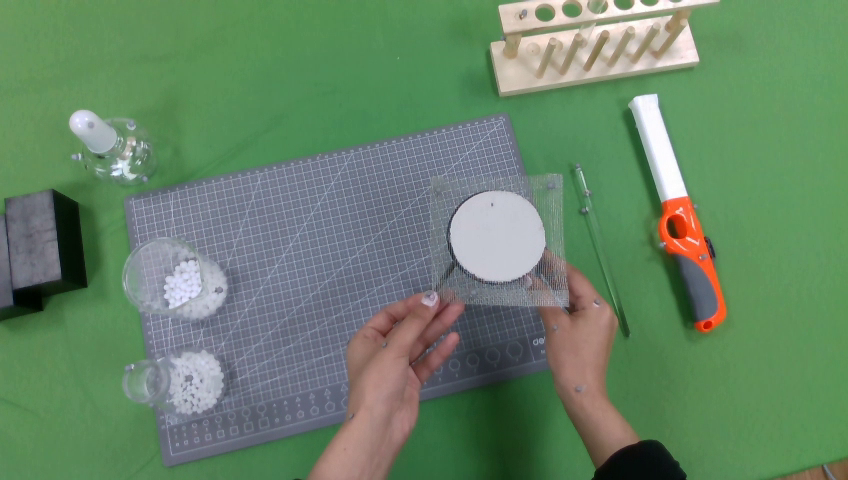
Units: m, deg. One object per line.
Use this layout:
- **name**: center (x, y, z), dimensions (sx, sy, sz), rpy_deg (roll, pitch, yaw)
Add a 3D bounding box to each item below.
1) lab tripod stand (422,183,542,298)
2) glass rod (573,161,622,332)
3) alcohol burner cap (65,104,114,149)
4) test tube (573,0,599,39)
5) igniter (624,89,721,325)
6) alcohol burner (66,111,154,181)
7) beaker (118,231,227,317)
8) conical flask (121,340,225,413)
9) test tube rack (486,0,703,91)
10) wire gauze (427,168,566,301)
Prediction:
- **lab tripod stand**: center (0.059, 0.008, 0.612), dimensions (0.148, 0.132, 0.148), rpy_deg (0, 79, -1)
- **glass rod**: center (0.195, 0.005, 0.682), dimensions (0.008, 0.008, 0.199), rpy_deg (-12, 81, -4)
- **alcohol burner cap**: center (-0.337, -0.117, 0.606), dimensions (0.034, 0.048, 0.033), rpy_deg (0, 71, 0)
- **test tube**: center (0.181, -0.260, 0.649), dimensions (0.017, 0.151, 0.017), rpy_deg (0, 78, 2)
- **igniter**: center (0.280, -0.041, 0.685), dimensions (0.057, 0.025, 0.275), rpy_deg (-10, 78, -13)
- **alcohol burner**: center (-0.337, -0.106, 0.640), dimensions (0.078, 0.119, 0.077), rpy_deg (0, 79, 0)
- **beaker**: center (-0.246, 0.040, 0.615), dimensions (0.084, 0.100, 0.074), rpy_deg (22, 78, 3)
- **conical flask**: center (-0.245, 0.131, 0.584), dimensions (0.075, 0.122, 0.075), rpy_deg (0, 77, -1)
- **test tube rack**: center (0.200, -0.238, 0.695), dimensions (0.242, 0.085, 0.066), rpy_deg (-10, 77, -3)
- **wire gauze**: center (0.065, -0.006, 0.546), dimensions (0.125, 0.011, 0.121), rpy_deg (1, 79, 0)
